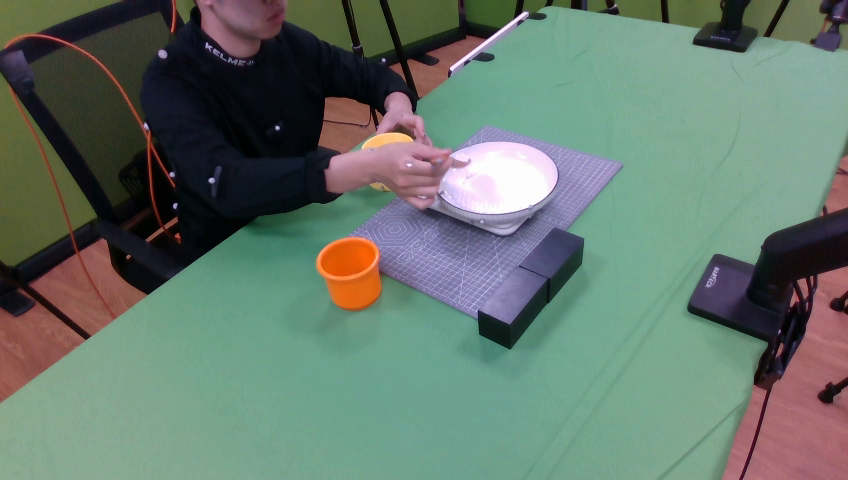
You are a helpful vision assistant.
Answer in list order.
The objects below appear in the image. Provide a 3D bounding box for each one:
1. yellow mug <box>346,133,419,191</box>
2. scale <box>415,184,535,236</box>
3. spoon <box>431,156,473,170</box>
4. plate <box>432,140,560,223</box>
[{"bbox_3d":[-0.079,-0.143,1.116,0.131,0.064,0.099,-7,40,3],"label":"yellow mug"},{"bbox_3d":[0.099,-0.079,1.035,0.199,0.032,0.149,23,48,31],"label":"scale"},{"bbox_3d":[0.038,-0.119,0.918,0.041,0.021,0.194,1,5,17],"label":"spoon"},{"bbox_3d":[0.118,-0.094,0.999,0.209,0.038,0.208,-5,41,4],"label":"plate"}]
